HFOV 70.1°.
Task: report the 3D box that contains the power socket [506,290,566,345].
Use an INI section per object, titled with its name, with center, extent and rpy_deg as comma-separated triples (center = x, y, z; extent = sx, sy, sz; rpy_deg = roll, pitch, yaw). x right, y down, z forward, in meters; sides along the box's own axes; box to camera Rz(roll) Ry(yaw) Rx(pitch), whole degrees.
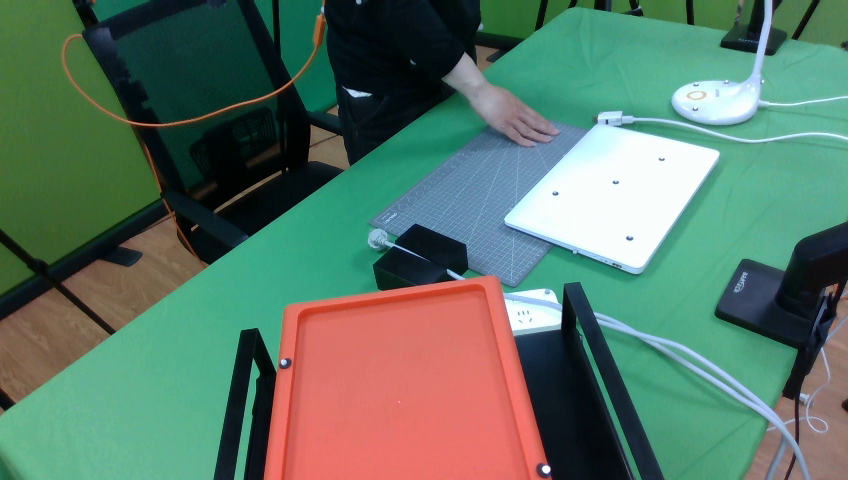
[power socket]
center = 0.081, 0.112, 0.822
extent = 0.227, 0.033, 0.072
rpy_deg = -7, 41, 0

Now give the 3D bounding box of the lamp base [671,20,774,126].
[lamp base]
center = 0.581, -0.332, 1.154
extent = 0.179, 0.181, 0.160
rpy_deg = 2, 41, 7

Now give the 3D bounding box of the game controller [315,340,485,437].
[game controller]
center = -0.021, 0.120, 0.534
extent = 0.155, 0.052, 0.096
rpy_deg = -3, 38, 1

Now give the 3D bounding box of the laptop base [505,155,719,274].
[laptop base]
center = 0.326, -0.083, 1.028
extent = 0.233, 0.023, 0.355
rpy_deg = 21, 48, 32

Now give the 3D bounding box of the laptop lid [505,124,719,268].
[laptop lid]
center = 0.323, -0.093, 1.021
extent = 0.240, 0.013, 0.358
rpy_deg = 23, 49, 32

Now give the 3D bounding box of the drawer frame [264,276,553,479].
[drawer frame]
center = -0.016, 0.137, 0.490
extent = 0.202, 0.083, 0.212
rpy_deg = -8, 41, -2

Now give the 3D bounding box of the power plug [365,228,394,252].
[power plug]
center = -0.067, 0.010, 0.954
extent = 0.035, 0.053, 0.072
rpy_deg = -39, 52, 1

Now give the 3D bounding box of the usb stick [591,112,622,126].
[usb stick]
center = 0.360, -0.239, 1.197
extent = 0.059, 0.021, 0.027
rpy_deg = 4, 41, 27

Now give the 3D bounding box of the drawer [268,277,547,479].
[drawer]
center = -0.018, 0.137, 0.493
extent = 0.195, 0.073, 0.210
rpy_deg = -7, 41, -1
